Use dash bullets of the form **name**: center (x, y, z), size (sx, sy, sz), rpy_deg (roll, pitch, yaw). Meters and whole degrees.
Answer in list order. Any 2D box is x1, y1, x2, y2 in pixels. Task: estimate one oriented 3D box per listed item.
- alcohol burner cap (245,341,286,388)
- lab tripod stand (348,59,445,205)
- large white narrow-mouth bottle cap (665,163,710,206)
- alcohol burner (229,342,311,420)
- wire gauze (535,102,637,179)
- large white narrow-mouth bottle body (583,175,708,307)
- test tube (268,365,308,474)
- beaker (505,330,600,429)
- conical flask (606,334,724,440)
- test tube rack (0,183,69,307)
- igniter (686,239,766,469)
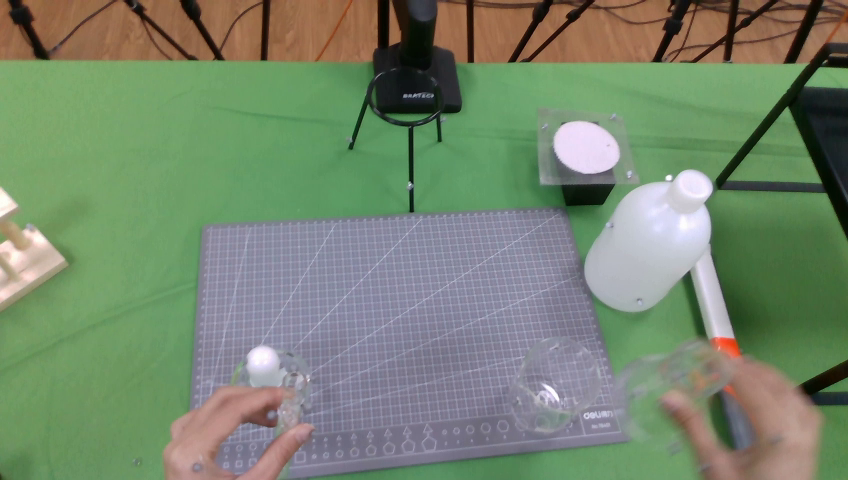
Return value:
- **alcohol burner cap**: center (-0.145, 0.111, 0.547), size (0.034, 0.048, 0.033), rpy_deg (2, 54, -2)
- **lab tripod stand**: center (-0.024, -0.137, 0.738), size (0.148, 0.132, 0.147), rpy_deg (4, 60, -6)
- **large white narrow-mouth bottle cap**: center (0.253, -0.054, 0.585), size (0.038, 0.024, 0.037), rpy_deg (3, 60, -4)
- **alcohol burner**: center (-0.148, 0.128, 0.579), size (0.078, 0.120, 0.077), rpy_deg (4, 58, -6)
- **wire gauze**: center (0.203, -0.126, 0.773), size (0.121, 0.011, 0.124), rpy_deg (4, 59, -4)
- **large white narrow-mouth bottle body**: center (0.246, -0.009, 0.658), size (0.102, 0.196, 0.101), rpy_deg (2, 59, -4)
- **test tube**: center (-0.098, 0.132, 0.428), size (0.017, 0.151, 0.017), rpy_deg (10, 47, -10)
- **beaker**: center (0.121, 0.145, 0.608), size (0.084, 0.101, 0.073), rpy_deg (-6, 60, -8)
- **conical flask**: center (0.183, 0.103, 0.450), size (0.075, 0.123, 0.075), rpy_deg (-2, 65, 5)
- **test tube rack**: center (-0.499, 0.054, 0.601), size (0.066, 0.086, 0.242), rpy_deg (40, 64, 16)
- **igniter**: center (0.338, 0.118, 0.693), size (0.057, 0.025, 0.274), rpy_deg (8, 59, -14)
